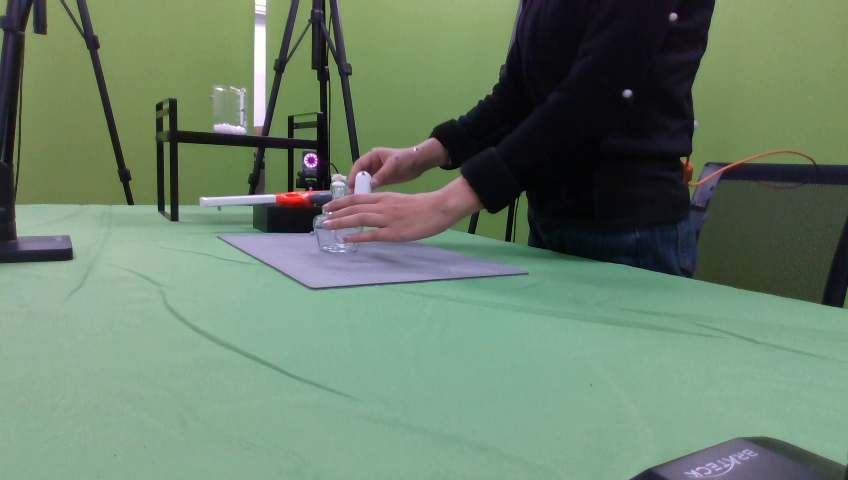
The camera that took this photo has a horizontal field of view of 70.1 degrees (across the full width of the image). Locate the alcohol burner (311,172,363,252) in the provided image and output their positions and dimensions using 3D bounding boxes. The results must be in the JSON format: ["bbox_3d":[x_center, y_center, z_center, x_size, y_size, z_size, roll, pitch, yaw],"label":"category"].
[{"bbox_3d":[-0.130,-0.042,0.906,0.078,0.119,0.078,2,6,0],"label":"alcohol burner"}]

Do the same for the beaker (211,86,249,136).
[{"bbox_3d":[-0.413,-0.274,1.298,0.074,0.100,0.083,-5,11,-44],"label":"beaker"}]

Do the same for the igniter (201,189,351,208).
[{"bbox_3d":[-0.272,-0.078,1.139,0.278,0.025,0.057,-5,11,-27],"label":"igniter"}]

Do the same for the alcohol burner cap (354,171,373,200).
[{"bbox_3d":[-0.100,-0.092,1.023,0.034,0.048,0.034,5,0,0],"label":"alcohol burner cap"}]
